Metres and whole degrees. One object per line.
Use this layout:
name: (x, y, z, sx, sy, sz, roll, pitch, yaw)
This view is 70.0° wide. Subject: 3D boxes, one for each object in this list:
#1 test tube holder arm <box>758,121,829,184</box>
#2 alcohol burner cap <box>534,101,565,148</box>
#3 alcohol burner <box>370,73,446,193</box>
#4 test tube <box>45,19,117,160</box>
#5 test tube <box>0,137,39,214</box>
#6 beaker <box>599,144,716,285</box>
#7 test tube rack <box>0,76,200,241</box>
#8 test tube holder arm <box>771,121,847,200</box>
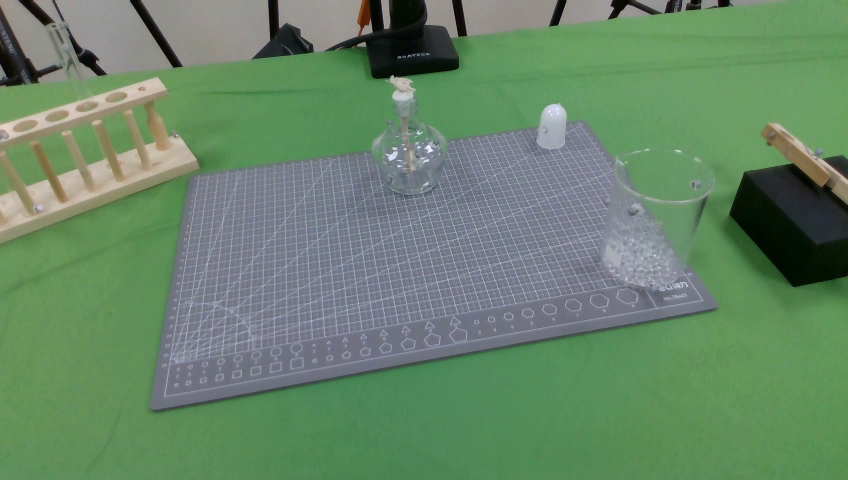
test tube holder arm: (0.336, -0.080, 0.550, 0.010, 0.015, 0.087, -6, 42, -14)
alcohol burner cap: (0.139, -0.130, 0.666, 0.034, 0.048, 0.033, -2, 43, 2)
alcohol burner: (-0.017, -0.108, 0.599, 0.078, 0.120, 0.077, -3, 42, 3)
test tube: (-0.344, -0.146, 0.612, 0.017, 0.151, 0.017, -1, 40, 1)
test tube: (-0.396, -0.086, 0.558, 0.017, 0.152, 0.017, -1, 41, 2)
beaker: (0.184, -0.019, 0.502, 0.074, 0.101, 0.083, -30, 48, -26)
test tube rack: (-0.368, -0.080, 0.616, 0.242, 0.086, 0.066, -26, 48, -23)
test tube holder arm: (0.352, -0.052, 0.519, 0.013, 0.015, 0.176, -6, 42, -15)
